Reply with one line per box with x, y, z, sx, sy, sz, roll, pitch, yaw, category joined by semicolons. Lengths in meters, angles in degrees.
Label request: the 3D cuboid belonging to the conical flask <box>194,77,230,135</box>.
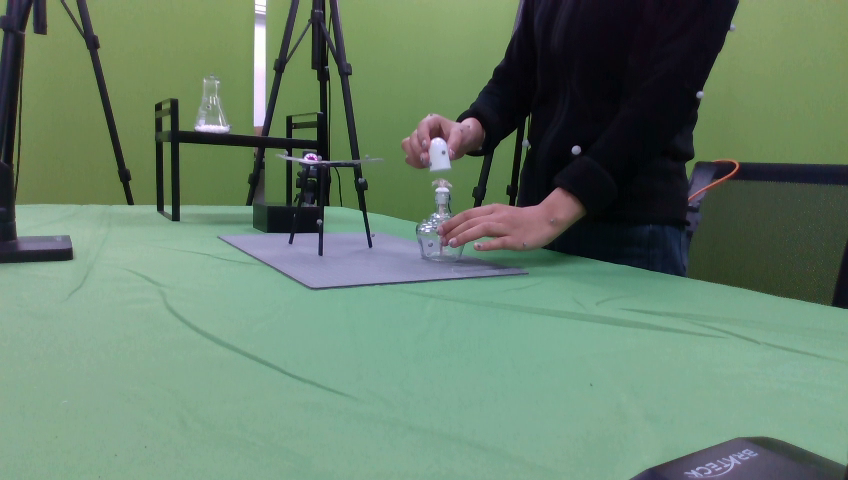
-0.461;-0.292;1.317;0.075;0.122;0.075;2;7;0;conical flask

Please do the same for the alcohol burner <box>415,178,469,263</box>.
0.025;-0.028;0.863;0.078;0.119;0.078;0;7;0;alcohol burner

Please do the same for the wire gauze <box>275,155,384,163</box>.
-0.142;-0.118;0.900;0.122;0.011;0.124;-3;8;-37;wire gauze

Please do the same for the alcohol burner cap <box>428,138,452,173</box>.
0.020;-0.120;0.851;0.034;0.048;0.034;-9;2;1;alcohol burner cap

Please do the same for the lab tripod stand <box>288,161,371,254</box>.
-0.148;-0.052;0.909;0.148;0.131;0.148;1;8;0;lab tripod stand
